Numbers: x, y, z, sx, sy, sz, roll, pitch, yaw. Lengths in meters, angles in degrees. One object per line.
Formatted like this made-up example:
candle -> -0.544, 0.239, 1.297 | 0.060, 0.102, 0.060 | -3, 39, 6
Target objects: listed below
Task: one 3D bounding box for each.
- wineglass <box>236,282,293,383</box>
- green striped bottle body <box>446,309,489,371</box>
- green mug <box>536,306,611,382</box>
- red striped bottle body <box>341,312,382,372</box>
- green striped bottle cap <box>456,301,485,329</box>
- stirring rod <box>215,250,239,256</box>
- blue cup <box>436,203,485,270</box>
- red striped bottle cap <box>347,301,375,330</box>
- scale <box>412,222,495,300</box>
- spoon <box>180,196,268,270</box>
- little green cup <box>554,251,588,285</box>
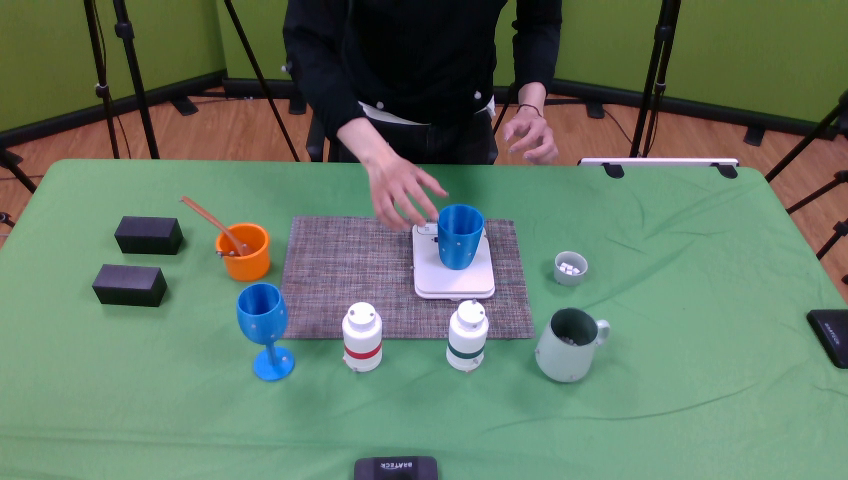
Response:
wineglass -> -0.243, 0.143, 0.934 | 0.074, 0.173, 0.073 | 2, 46, -2
green striped bottle body -> 0.070, 0.155, 0.984 | 0.063, 0.120, 0.063 | 2, 46, -2
green mug -> 0.250, 0.167, 0.996 | 0.125, 0.105, 0.092 | -15, 48, -18
red striped bottle body -> -0.100, 0.154, 0.972 | 0.063, 0.120, 0.062 | 2, 46, -1
green striped bottle cap -> 0.073, 0.116, 0.943 | 0.044, 0.020, 0.044 | 3, 46, -3
stirring rod -> -0.339, 0.024, 1.059 | 0.014, 0.176, 0.006 | 16, 86, -6
blue cup -> 0.062, -0.001, 1.099 | 0.093, 0.101, 0.092 | 2, 43, -2
red striped bottle cap -> -0.097, 0.116, 0.934 | 0.044, 0.018, 0.044 | 3, 49, -3
scale -> 0.052, 0.031, 1.158 | 0.149, 0.032, 0.199 | 1, 46, -4
spoon -> -0.360, -0.014, 1.094 | 0.021, 0.194, 0.041 | -27, 26, 32
little green cup -> 0.277, 0.055, 1.151 | 0.061, 0.039, 0.061 | 1, 46, -1
